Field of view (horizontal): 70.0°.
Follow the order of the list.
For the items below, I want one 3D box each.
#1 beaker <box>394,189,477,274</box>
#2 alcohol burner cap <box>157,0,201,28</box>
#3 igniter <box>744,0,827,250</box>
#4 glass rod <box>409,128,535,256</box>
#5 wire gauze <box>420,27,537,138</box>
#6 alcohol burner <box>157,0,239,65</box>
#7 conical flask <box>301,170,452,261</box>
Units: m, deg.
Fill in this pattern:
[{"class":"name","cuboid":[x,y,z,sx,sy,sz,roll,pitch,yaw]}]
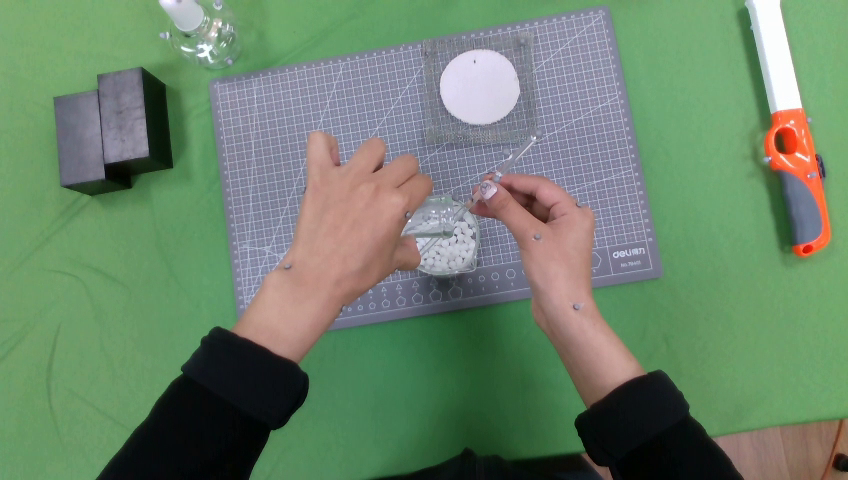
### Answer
[{"class":"beaker","cuboid":[0.018,-0.002,0.597,0.084,0.100,0.074,44,89,7]},{"class":"alcohol burner cap","cuboid":[-0.246,-0.238,0.601,0.034,0.048,0.033,-1,77,5]},{"class":"igniter","cuboid":[0.369,-0.128,0.621,0.057,0.025,0.275,-7,84,-6]},{"class":"glass rod","cuboid":[0.033,-0.034,0.518,0.008,0.200,0.008,16,54,-23]},{"class":"wire gauze","cuboid":[0.058,-0.169,0.657,0.125,0.011,0.121,-2,84,2]},{"class":"alcohol burner","cuboid":[-0.243,-0.232,0.636,0.078,0.119,0.077,0,85,6]},{"class":"conical flask","cuboid":[-0.039,-0.022,0.508,0.122,0.075,0.075,-2,83,-6]}]
